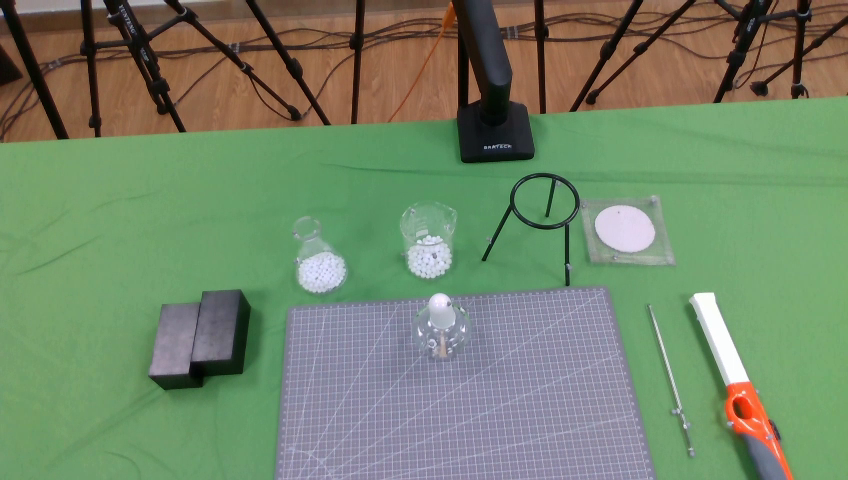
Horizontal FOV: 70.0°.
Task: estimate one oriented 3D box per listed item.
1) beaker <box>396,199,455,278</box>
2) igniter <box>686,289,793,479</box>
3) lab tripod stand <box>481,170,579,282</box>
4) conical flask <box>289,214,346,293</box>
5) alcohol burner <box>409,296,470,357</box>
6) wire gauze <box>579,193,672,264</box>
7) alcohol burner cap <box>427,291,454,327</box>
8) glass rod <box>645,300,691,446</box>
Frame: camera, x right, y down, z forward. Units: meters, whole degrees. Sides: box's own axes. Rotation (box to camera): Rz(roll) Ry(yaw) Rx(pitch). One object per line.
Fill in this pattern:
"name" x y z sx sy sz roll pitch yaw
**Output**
"beaker" 0.005 0.000 0.844 0.084 0.101 0.073 -27 61 -15
"igniter" 0.393 0.186 0.758 0.057 0.025 0.273 -1 57 -11
"lab tripod stand" 0.153 -0.020 0.832 0.148 0.132 0.147 -1 59 2
"conical flask" -0.151 0.014 0.826 0.075 0.123 0.074 -1 57 2
"alcohol burner" 0.020 0.102 0.767 0.078 0.120 0.077 0 56 1
"wire gauze" 0.297 -0.020 0.903 0.125 0.011 0.120 1 59 0
"alcohol burner cap" 0.019 0.081 0.738 0.034 0.048 0.033 -4 52 6
"glass rod" 0.314 0.166 0.785 0.008 0.008 0.198 -4 58 -1
